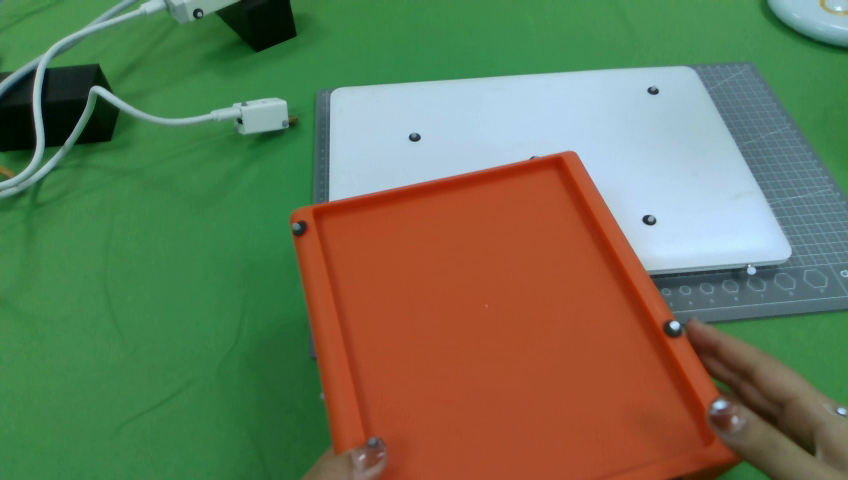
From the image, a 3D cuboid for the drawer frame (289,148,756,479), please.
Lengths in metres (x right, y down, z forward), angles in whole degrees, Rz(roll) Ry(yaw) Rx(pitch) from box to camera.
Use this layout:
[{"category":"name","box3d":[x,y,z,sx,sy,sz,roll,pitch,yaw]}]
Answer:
[{"category":"drawer frame","box3d":[0.039,0.063,0.362,0.202,0.083,0.211,-14,56,-10]}]

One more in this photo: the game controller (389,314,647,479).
[{"category":"game controller","box3d":[0.055,0.104,0.350,0.155,0.051,0.097,-17,85,-10]}]

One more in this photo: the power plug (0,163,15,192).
[{"category":"power plug","box3d":[-0.365,-0.078,0.513,0.072,0.053,0.035,-57,36,-3]}]

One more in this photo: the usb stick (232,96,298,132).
[{"category":"usb stick","box3d":[-0.144,-0.117,0.560,0.059,0.027,0.021,-17,29,-39]}]

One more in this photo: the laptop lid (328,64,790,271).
[{"category":"laptop lid","box3d":[0.095,-0.066,0.513,0.357,0.013,0.239,-3,54,-2]}]

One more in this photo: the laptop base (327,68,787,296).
[{"category":"laptop base","box3d":[0.095,-0.060,0.524,0.355,0.023,0.233,-4,55,-3]}]

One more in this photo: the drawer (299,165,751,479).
[{"category":"drawer","box3d":[0.041,0.065,0.361,0.195,0.074,0.209,-13,55,-10]}]

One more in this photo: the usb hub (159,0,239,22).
[{"category":"usb hub","box3d":[-0.205,-0.264,0.620,0.125,0.025,0.049,-35,61,-23]}]

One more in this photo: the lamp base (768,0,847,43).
[{"category":"lamp base","box3d":[0.474,-0.326,0.627,0.159,0.182,0.178,27,55,21]}]
